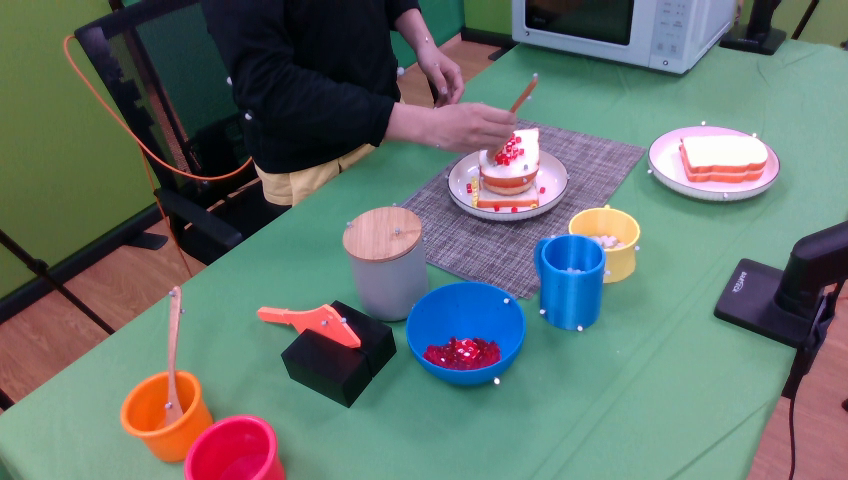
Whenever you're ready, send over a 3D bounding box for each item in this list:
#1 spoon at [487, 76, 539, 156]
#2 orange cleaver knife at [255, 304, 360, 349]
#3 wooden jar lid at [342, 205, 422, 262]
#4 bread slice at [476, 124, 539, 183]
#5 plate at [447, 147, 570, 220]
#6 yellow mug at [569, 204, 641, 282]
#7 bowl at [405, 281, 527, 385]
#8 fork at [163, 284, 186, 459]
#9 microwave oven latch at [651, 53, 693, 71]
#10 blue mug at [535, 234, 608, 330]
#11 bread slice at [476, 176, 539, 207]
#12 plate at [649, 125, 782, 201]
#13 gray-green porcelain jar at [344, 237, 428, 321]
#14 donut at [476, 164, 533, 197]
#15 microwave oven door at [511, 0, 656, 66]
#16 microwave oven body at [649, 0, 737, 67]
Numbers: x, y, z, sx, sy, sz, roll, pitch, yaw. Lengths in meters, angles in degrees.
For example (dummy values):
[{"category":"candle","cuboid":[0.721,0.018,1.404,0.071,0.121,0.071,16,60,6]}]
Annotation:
[{"category":"spoon","cuboid":[0.132,-0.186,0.922,0.021,0.194,0.041,22,64,-1]},{"category":"orange cleaver knife","cuboid":[-0.161,0.115,0.813,0.210,0.077,0.012,-4,32,47]},{"category":"wooden jar lid","cuboid":[-0.055,-0.006,0.808,0.108,0.021,0.108,-6,40,6]},{"category":"bread slice","cuboid":[0.144,-0.144,1.010,0.107,0.018,0.133,-7,45,7]},{"category":"plate","cuboid":[0.145,-0.098,1.046,0.209,0.038,0.208,-4,41,4]},{"category":"yellow mug","cuboid":[0.268,-0.005,0.904,0.099,0.064,0.130,7,41,15]},{"category":"bowl","cuboid":[0.055,0.131,0.767,0.151,0.077,0.150,-4,40,4]},{"category":"fork","cuboid":[-0.302,0.157,0.733,0.028,0.019,0.207,-3,84,15]},{"category":"microwave oven latch","cuboid":[0.532,-0.386,1.301,0.078,0.029,0.030,27,52,34]},{"category":"blue mug","cuboid":[0.191,0.048,0.824,0.082,0.106,0.115,-26,44,-21]},{"category":"bread slice","cuboid":[0.144,-0.103,1.059,0.105,0.019,0.131,0,45,5]},{"category":"plate","cuboid":[0.493,-0.128,1.036,0.207,0.039,0.206,-4,41,4]},{"category":"gray-green porcelain jar","cuboid":[-0.050,0.042,0.849,0.106,0.127,0.105,-4,41,4]},{"category":"donut","cuboid":[0.138,-0.116,1.025,0.099,0.048,0.098,-8,55,13]},{"category":"microwave oven door","cuboid":[0.351,-0.539,1.349,0.353,0.245,0.039,24,50,31]},{"category":"microwave oven body","cuboid":[0.475,-0.602,1.411,0.438,0.261,0.327,23,50,32]}]
